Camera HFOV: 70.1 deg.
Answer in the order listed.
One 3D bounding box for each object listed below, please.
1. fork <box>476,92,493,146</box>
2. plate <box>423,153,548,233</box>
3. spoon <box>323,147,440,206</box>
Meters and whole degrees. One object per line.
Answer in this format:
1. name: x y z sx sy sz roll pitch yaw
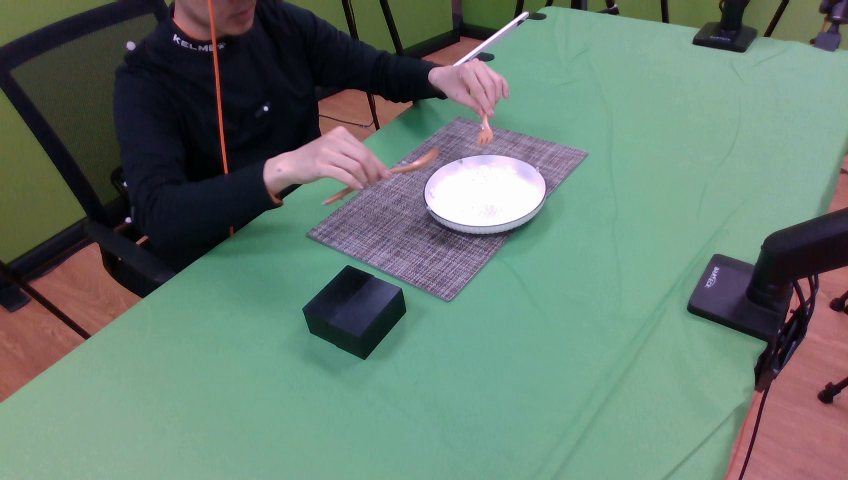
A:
1. fork: 0.109 -0.212 1.050 0.028 0.019 0.206 -10 38 17
2. plate: 0.104 -0.076 1.024 0.209 0.038 0.208 -4 40 4
3. spoon: -0.063 -0.095 0.903 0.194 0.022 0.041 -22 16 -3
